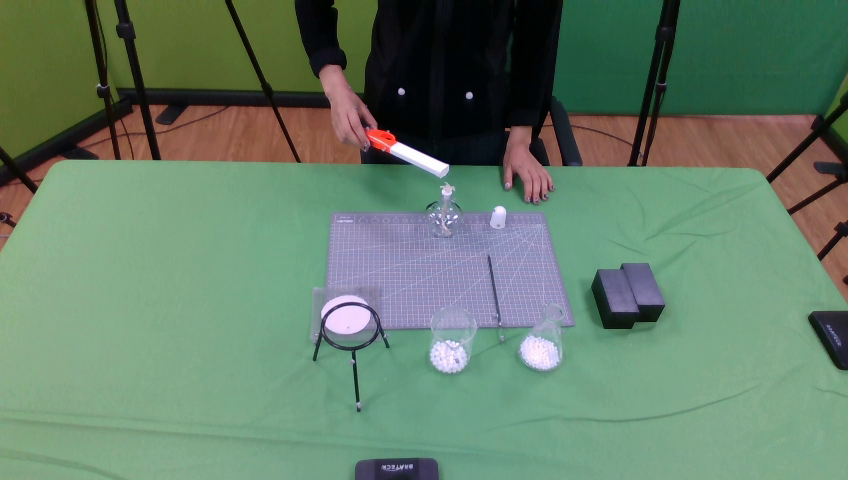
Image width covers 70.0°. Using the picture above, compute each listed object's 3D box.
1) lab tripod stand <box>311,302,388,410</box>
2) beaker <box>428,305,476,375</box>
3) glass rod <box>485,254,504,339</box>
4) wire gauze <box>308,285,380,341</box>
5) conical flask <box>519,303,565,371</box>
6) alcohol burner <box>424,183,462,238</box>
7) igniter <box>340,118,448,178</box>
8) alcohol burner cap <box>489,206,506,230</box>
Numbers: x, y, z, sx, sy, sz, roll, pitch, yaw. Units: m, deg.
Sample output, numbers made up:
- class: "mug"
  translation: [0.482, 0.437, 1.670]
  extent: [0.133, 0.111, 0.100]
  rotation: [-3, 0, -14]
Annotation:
- class: "lab tripod stand"
  translation: [-0.113, 0.168, 0.951]
  extent: [0.148, 0.132, 0.147]
  rotation: [2, 44, -2]
- class: "beaker"
  translation: [0.044, 0.168, 0.987]
  extent: [0.074, 0.101, 0.083]
  rotation: [1, 47, -3]
- class: "glass rod"
  translation: [0.129, 0.099, 1.119]
  extent: [0.008, 0.008, 0.198]
  rotation: [-1, 46, -4]
- class: "wire gauze"
  translation: [-0.141, 0.128, 1.071]
  extent: [0.125, 0.011, 0.120]
  rotation: [-1, 46, -5]
- class: "conical flask"
  translation: [0.201, 0.155, 0.997]
  extent: [0.075, 0.122, 0.075]
  rotation: [2, 46, -2]
- class: "alcohol burner"
  translation: [0.039, -0.063, 1.197]
  extent: [0.078, 0.119, 0.077]
  rotation: [2, 44, -2]
- class: "igniter"
  translation: [-0.069, -0.189, 1.216]
  extent: [0.275, 0.025, 0.057]
  rotation: [29, 50, 28]
- class: "alcohol burner cap"
  translation: [0.152, -0.047, 1.241]
  extent: [0.034, 0.048, 0.033]
  rotation: [2, 45, -2]
